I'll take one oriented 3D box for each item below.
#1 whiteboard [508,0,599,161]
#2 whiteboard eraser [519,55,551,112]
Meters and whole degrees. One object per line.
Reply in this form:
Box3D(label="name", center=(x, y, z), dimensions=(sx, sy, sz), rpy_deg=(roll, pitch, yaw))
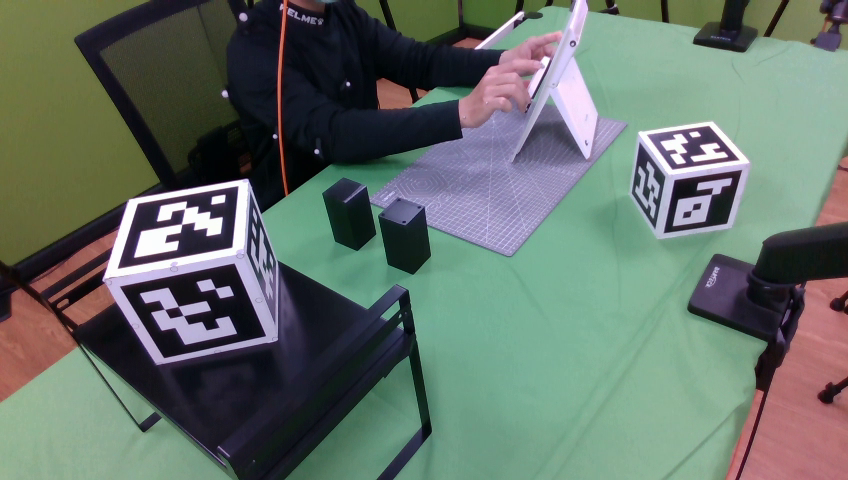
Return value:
Box3D(label="whiteboard", center=(0.285, -0.289, 1.089), dimensions=(0.144, 0.305, 0.217), rpy_deg=(22, 45, 3))
Box3D(label="whiteboard eraser", center=(0.190, -0.269, 1.038), dimensions=(0.019, 0.101, 0.041), rpy_deg=(25, 36, 3))
